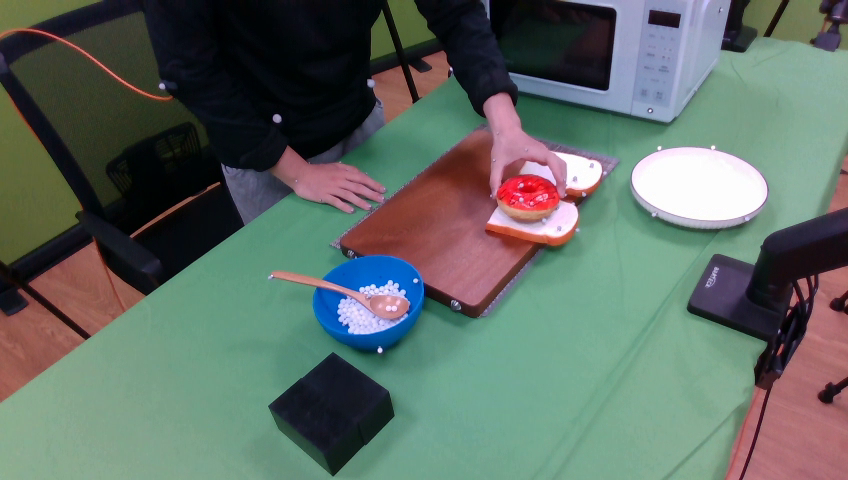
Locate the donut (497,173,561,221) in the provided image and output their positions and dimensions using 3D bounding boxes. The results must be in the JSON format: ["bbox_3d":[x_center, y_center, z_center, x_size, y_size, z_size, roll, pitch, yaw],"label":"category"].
[{"bbox_3d":[0.161,-0.066,0.926,0.099,0.048,0.098,-3,36,3],"label":"donut"}]

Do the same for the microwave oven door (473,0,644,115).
[{"bbox_3d":[0.257,-0.396,1.199,0.353,0.245,0.039,21,48,29],"label":"microwave oven door"}]

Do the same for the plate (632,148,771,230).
[{"bbox_3d":[0.447,-0.081,0.988,0.207,0.039,0.206,-4,40,4],"label":"plate"}]

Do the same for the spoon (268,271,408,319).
[{"bbox_3d":[-0.116,0.069,0.813,0.194,0.021,0.041,18,40,1],"label":"spoon"}]

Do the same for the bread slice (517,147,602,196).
[{"bbox_3d":[0.233,-0.115,1.027,0.133,0.018,0.107,13,45,20],"label":"bread slice"}]

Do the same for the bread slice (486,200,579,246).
[{"bbox_3d":[0.176,-0.037,0.946,0.131,0.019,0.105,15,47,24],"label":"bread slice"}]

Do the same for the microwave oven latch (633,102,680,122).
[{"bbox_3d":[0.444,-0.249,1.158,0.078,0.029,0.030,22,49,31],"label":"microwave oven latch"}]

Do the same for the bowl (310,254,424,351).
[{"bbox_3d":[-0.071,0.098,0.821,0.151,0.077,0.150,-4,40,4],"label":"bowl"}]

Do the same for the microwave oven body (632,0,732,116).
[{"bbox_3d":[0.377,-0.463,1.267,0.438,0.261,0.327,21,49,30],"label":"microwave oven body"}]
